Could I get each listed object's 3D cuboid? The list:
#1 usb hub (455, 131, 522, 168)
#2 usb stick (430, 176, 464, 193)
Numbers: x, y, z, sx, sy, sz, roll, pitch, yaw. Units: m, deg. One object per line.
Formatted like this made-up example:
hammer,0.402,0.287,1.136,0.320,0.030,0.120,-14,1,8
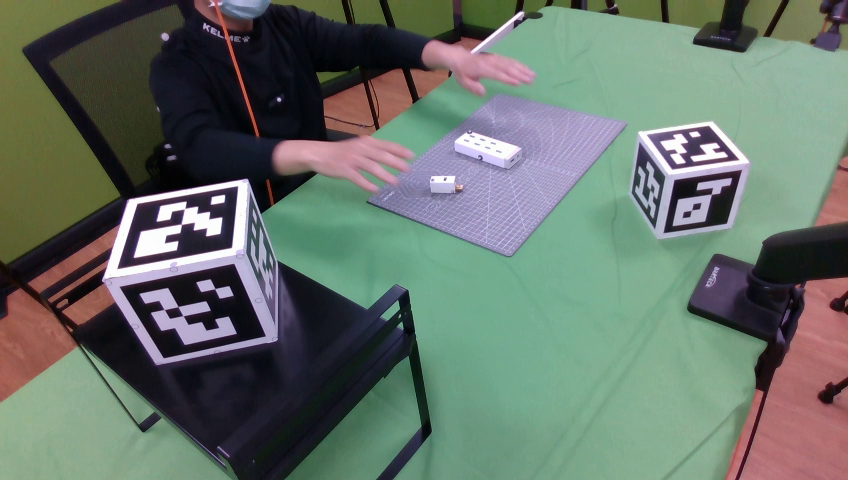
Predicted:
usb hub,0.122,-0.172,1.146,0.124,0.025,0.049,25,49,32
usb stick,0.042,-0.098,1.071,0.059,0.027,0.021,4,40,9
